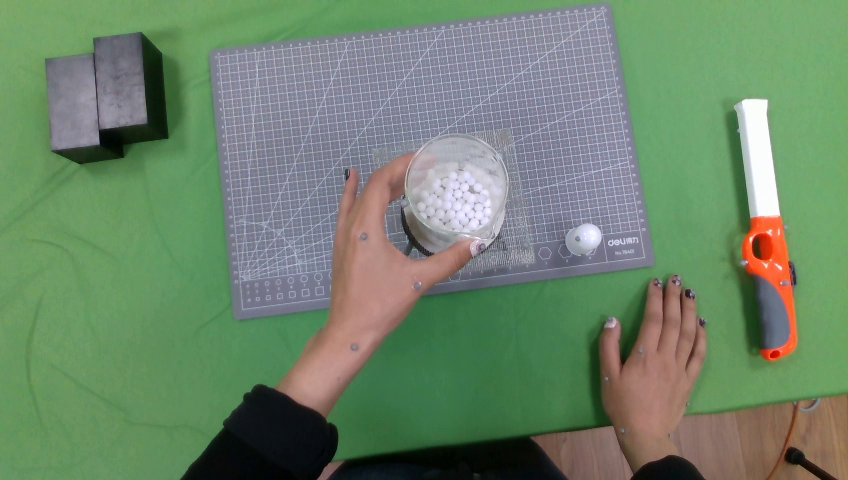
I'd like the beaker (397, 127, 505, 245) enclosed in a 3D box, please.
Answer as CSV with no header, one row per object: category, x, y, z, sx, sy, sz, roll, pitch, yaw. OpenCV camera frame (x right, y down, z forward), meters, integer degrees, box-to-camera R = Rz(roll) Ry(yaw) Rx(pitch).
beaker,0.024,-0.033,0.471,0.074,0.100,0.083,-31,83,-2

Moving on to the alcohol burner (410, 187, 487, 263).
alcohol burner,0.025,-0.018,0.595,0.078,0.119,0.077,0,81,-1

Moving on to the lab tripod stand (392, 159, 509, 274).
lab tripod stand,0.020,-0.022,0.586,0.148,0.132,0.148,0,82,2

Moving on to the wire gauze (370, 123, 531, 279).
wire gauze,0.022,-0.034,0.521,0.125,0.011,0.121,-9,82,1

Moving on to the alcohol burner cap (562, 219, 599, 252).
alcohol burner cap,0.165,-0.006,0.631,0.034,0.048,0.034,0,83,1

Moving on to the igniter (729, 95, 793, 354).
igniter,0.357,-0.019,0.643,0.057,0.025,0.275,-2,83,-10
